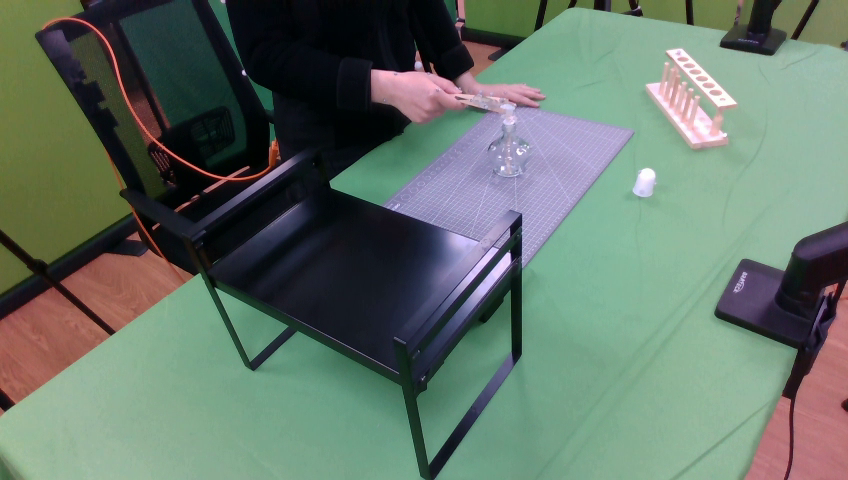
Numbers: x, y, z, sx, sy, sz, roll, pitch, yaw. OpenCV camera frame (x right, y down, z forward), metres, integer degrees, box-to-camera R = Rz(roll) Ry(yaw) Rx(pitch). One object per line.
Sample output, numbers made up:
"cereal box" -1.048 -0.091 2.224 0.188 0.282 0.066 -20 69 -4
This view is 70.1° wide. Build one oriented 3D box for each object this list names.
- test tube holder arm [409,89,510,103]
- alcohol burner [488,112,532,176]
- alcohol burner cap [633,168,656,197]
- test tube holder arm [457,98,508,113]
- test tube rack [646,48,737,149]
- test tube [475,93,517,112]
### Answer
"test tube holder arm" 0.056 -0.238 0.999 0.177 0.013 0.015 13 11 25
"alcohol burner" 0.155 -0.176 1.084 0.078 0.119 0.077 -3 41 3
"alcohol burner cap" 0.374 -0.099 1.018 0.034 0.048 0.033 -1 42 1
"test tube holder arm" 0.094 -0.222 0.981 0.087 0.010 0.015 22 15 23
"test tube rack" 0.511 -0.280 1.175 0.067 0.085 0.241 -8 41 1
"test tube" 0.118 -0.221 0.977 0.017 0.017 0.151 17 13 27
